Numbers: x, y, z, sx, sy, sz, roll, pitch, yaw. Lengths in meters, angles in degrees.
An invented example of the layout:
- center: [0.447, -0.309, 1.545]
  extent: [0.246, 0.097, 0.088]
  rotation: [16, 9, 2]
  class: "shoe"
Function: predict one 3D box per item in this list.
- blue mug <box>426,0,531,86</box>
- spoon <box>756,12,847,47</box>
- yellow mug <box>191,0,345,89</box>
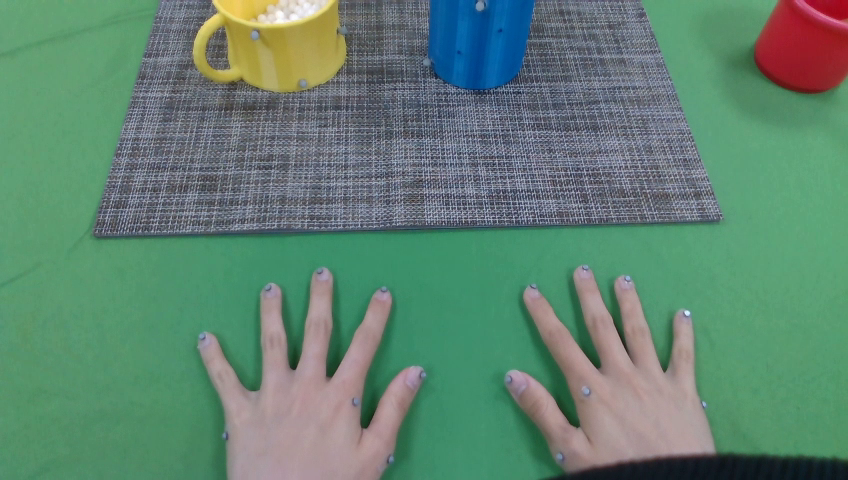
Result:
- center: [0.054, -0.201, 0.491]
  extent: [0.082, 0.107, 0.116]
  rotation: [37, 63, 20]
  class: "blue mug"
- center: [0.365, -0.182, 0.475]
  extent: [0.041, 0.192, 0.022]
  rotation: [-46, 115, -28]
  class: "spoon"
- center: [-0.129, -0.173, 0.488]
  extent: [0.131, 0.064, 0.099]
  rotation: [-39, 67, -22]
  class: "yellow mug"
